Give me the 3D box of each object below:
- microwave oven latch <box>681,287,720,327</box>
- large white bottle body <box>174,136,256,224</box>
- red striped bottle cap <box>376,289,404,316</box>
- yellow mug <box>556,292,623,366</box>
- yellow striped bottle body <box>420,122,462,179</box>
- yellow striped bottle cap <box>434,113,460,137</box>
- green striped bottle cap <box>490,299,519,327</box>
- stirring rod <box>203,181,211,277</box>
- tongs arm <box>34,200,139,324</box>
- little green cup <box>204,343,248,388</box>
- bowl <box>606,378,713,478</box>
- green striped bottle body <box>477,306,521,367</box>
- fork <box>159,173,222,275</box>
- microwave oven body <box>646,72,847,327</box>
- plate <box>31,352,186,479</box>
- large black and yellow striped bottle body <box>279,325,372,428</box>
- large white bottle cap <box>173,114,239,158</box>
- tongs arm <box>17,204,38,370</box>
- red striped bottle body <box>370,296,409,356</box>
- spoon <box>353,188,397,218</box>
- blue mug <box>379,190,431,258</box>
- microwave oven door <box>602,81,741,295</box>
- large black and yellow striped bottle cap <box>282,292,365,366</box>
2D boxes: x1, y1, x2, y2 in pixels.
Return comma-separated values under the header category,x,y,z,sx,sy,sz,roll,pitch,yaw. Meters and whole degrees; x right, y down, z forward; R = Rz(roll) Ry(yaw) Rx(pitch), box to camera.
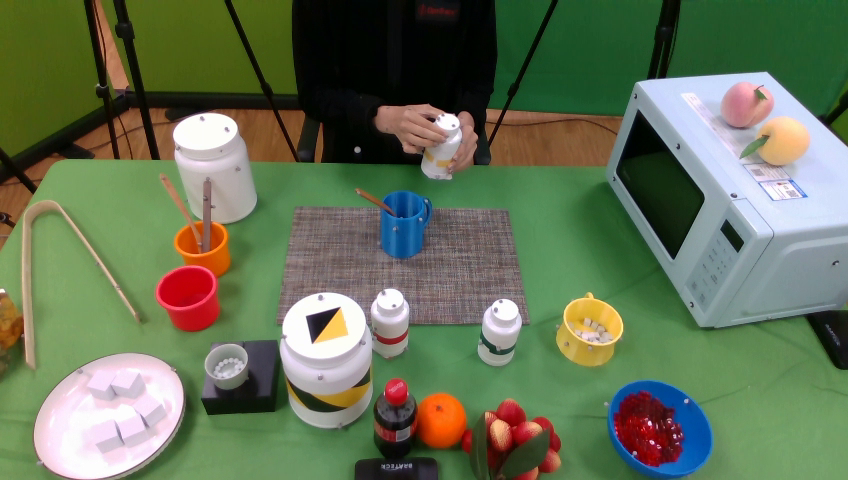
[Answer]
category,x,y,z,sx,sy,sz,roll,pitch,yaw
microwave oven latch,0.494,0.119,1.087,0.030,0.029,0.078,-6,46,-9
large white bottle body,-0.408,-0.137,1.183,0.131,0.185,0.130,2,46,-2
red striped bottle cap,-0.054,0.098,0.958,0.044,0.018,0.044,0,48,1
yellow mug,0.285,0.145,1.051,0.100,0.064,0.130,7,45,3
yellow striped bottle body,0.032,-0.174,1.120,0.063,0.121,0.062,5,53,-7
yellow striped bottle cap,0.041,-0.205,1.079,0.044,0.019,0.044,5,52,-6
green striped bottle cap,0.128,0.115,0.958,0.044,0.020,0.044,2,47,-2
stirring rod,-0.396,-0.021,1.107,0.014,0.006,0.176,-1,89,-1
tongs arm,-0.622,0.034,1.105,0.051,0.026,0.382,-32,55,-26
little green cup,-0.294,0.190,0.909,0.061,0.039,0.061,1,48,-1
bowl,0.340,0.292,0.906,0.151,0.077,0.150,2,46,-2
green striped bottle body,0.124,0.151,0.995,0.063,0.120,0.063,2,46,-2
fork,-0.427,-0.029,1.103,0.028,0.018,0.207,-31,99,-29
microwave oven body,0.607,-0.090,1.164,0.326,0.261,0.438,-7,46,-10
plate,-0.459,0.262,0.898,0.209,0.038,0.208,2,46,-2
large black and yellow striped bottle body,-0.143,0.181,0.900,0.131,0.185,0.130,2,46,-2
large white bottle cap,-0.403,-0.195,1.122,0.115,0.018,0.114,2,47,-2
tongs arm,-0.698,0.069,1.068,0.028,0.028,0.385,-20,50,-13
red striped bottle body,-0.058,0.134,0.997,0.063,0.120,0.062,4,47,-4
spoon,-0.069,-0.053,1.121,0.021,0.195,0.041,-36,51,11
blue mug,-0.032,-0.037,1.169,0.116,0.106,0.082,-30,55,-28
microwave oven door,0.456,-0.107,1.162,0.039,0.245,0.353,-6,47,-11
large black and yellow striped bottle cap,-0.139,0.121,0.841,0.115,0.019,0.114,3,47,-3
